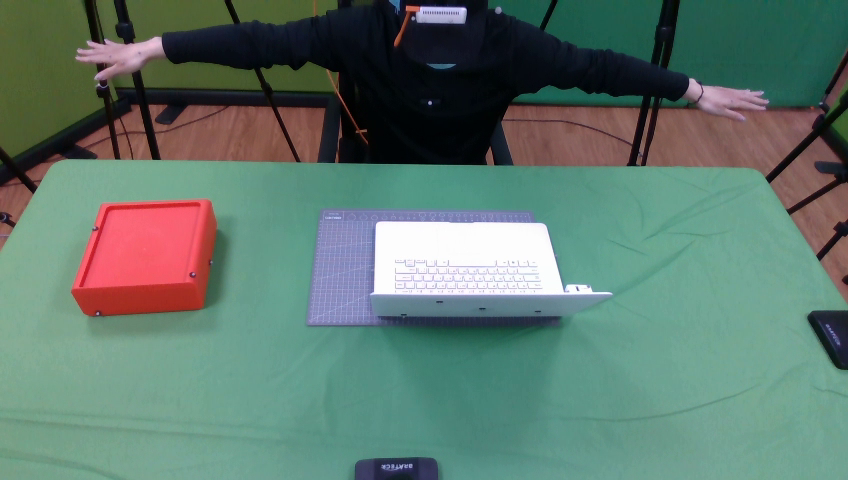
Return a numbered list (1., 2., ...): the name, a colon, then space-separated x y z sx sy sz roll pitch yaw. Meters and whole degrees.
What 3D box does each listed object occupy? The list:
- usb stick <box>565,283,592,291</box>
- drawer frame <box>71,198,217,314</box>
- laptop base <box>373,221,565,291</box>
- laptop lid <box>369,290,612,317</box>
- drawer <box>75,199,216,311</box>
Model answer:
1. usb stick: 0.276 0.095 1.113 0.059 0.027 0.021 0 47 -6
2. drawer frame: -0.493 0.023 1.096 0.202 0.083 0.212 -3 47 -8
3. laptop base: 0.080 0.049 1.158 0.355 0.023 0.234 0 43 -4
4. laptop lid: 0.091 0.104 0.965 0.357 0.242 0.013 1 75 -5
5. drawer: -0.494 0.023 1.098 0.195 0.073 0.210 -2 47 -8
